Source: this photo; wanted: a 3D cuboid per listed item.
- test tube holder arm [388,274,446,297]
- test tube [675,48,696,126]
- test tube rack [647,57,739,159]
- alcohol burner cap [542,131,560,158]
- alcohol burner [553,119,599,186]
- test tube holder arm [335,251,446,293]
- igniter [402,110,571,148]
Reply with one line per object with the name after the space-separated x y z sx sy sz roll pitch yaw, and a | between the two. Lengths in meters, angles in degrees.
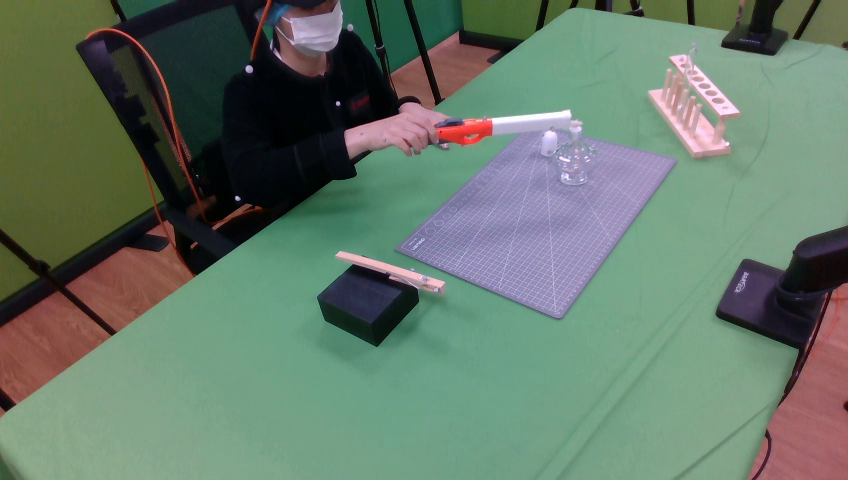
-0.011 0.060 0.838 0.087 0.010 0.015 17 39 24 | test tube holder arm
0.481 -0.279 1.112 0.017 0.151 0.017 -5 40 5 | test tube
0.504 -0.257 1.153 0.067 0.085 0.241 -8 40 1 | test tube rack
0.238 -0.180 1.134 0.034 0.048 0.033 -5 41 5 | alcohol burner cap
0.261 -0.153 1.042 0.078 0.119 0.077 -6 40 6 | alcohol burner
-0.050 0.043 0.853 0.177 0.013 0.015 17 39 24 | test tube holder arm
0.100 -0.181 0.986 0.277 0.057 0.025 -7 54 0 | igniter
